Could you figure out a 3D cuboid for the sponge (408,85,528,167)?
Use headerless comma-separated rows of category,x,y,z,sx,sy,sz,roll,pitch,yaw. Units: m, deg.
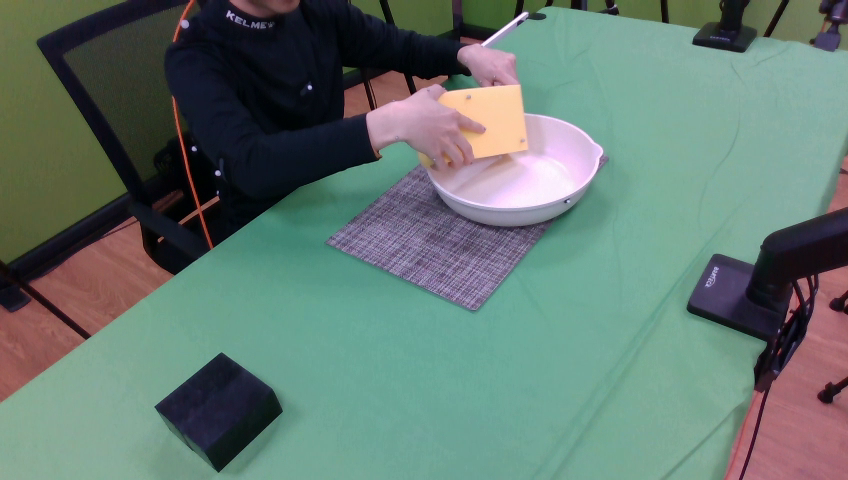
sponge,0.081,-0.201,1.057,0.208,0.118,0.060,-15,9,-33

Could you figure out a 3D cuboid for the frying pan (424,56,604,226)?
frying pan,0.155,-0.200,1.111,0.307,0.103,0.485,-1,49,5
